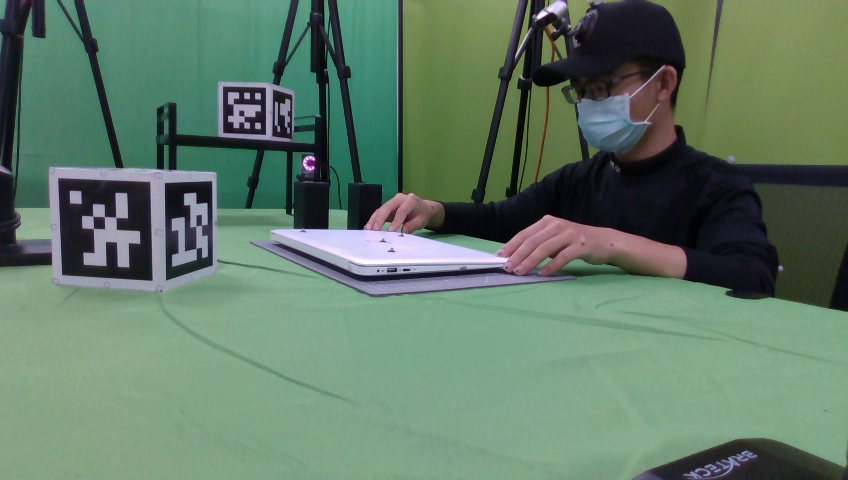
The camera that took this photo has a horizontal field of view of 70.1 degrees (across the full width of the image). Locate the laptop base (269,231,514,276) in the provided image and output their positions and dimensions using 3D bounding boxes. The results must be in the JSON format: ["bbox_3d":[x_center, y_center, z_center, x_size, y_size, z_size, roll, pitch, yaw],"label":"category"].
[{"bbox_3d":[-0.066,0.017,0.893,0.237,0.023,0.352,1,6,-32],"label":"laptop base"}]

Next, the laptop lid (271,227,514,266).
[{"bbox_3d":[-0.063,0.005,0.893,0.243,0.013,0.355,1,7,-30],"label":"laptop lid"}]
